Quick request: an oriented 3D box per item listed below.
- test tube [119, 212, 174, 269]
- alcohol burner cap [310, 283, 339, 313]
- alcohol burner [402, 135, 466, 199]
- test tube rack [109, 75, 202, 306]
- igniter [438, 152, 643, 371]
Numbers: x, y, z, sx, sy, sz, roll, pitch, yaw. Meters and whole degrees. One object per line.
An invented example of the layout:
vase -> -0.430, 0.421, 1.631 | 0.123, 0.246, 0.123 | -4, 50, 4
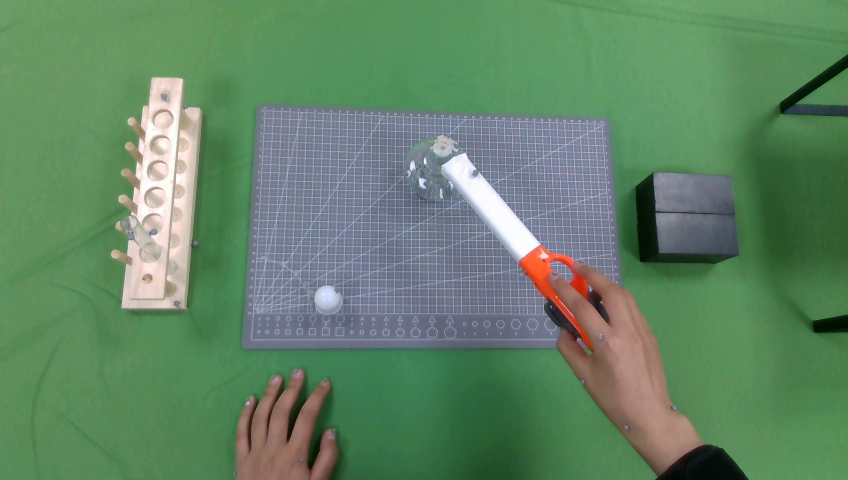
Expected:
test tube -> -0.275, 0.004, 0.608 | 0.017, 0.151, 0.017 | 3, 72, -9
alcohol burner cap -> -0.113, 0.063, 0.682 | 0.034, 0.048, 0.033 | 2, 76, -7
alcohol burner -> 0.014, -0.091, 0.696 | 0.078, 0.119, 0.077 | 1, 77, -4
test tube rack -> -0.300, -0.053, 0.669 | 0.067, 0.085, 0.241 | 1, 77, -6
igniter -> 0.112, 0.020, 0.604 | 0.057, 0.025, 0.275 | -36, 77, -16
